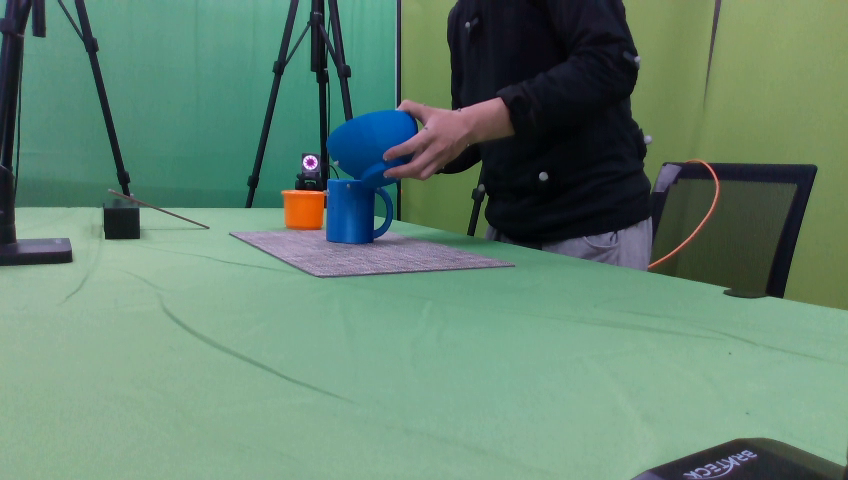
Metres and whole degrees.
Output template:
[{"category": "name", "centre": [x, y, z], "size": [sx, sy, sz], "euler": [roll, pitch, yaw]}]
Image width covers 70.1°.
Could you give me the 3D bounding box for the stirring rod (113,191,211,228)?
[{"category": "stirring rod", "centre": [-0.484, -0.055, 1.121], "size": [0.177, 0.006, 0.014], "euler": [22, -6, -22]}]

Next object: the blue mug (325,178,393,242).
[{"category": "blue mug", "centre": [-0.111, -0.052, 1.034], "size": [0.116, 0.106, 0.082], "euler": [3, 7, 7]}]

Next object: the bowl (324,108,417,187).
[{"category": "bowl", "centre": [-0.074, -0.134, 0.949], "size": [0.151, 0.076, 0.151], "euler": [-17, -14, -4]}]

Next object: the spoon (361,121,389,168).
[{"category": "spoon", "centre": [-0.090, -0.174, 1.046], "size": [0.022, 0.041, 0.193], "euler": [-19, 33, -11]}]
